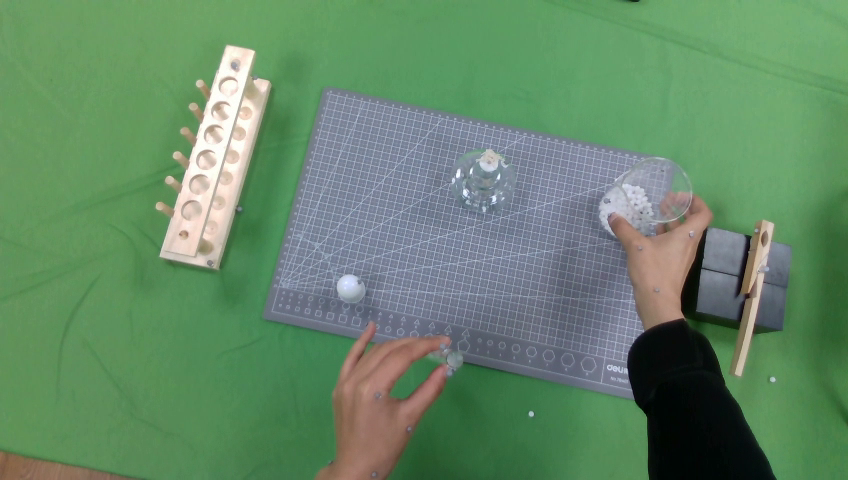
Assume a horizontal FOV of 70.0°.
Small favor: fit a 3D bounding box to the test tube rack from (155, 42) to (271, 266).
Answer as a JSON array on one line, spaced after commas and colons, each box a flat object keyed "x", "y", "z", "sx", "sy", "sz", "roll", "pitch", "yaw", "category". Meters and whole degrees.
[{"x": -0.249, "y": -0.100, "z": 0.696, "sx": 0.067, "sy": 0.085, "sz": 0.241, "roll": 13, "pitch": 78, "yaw": 1, "category": "test tube rack"}]

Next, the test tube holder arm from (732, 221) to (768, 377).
[{"x": 0.364, "y": 0.064, "z": 0.676, "sx": 0.013, "sy": 0.015, "sz": 0.178, "roll": 13, "pitch": 79, "yaw": 2, "category": "test tube holder arm"}]

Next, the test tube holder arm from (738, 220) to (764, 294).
[{"x": 0.369, "y": 0.020, "z": 0.685, "sx": 0.010, "sy": 0.015, "sz": 0.087, "roll": 15, "pitch": 79, "yaw": 3, "category": "test tube holder arm"}]

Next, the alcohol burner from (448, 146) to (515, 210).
[{"x": 0.067, "y": -0.075, "z": 0.688, "sx": 0.078, "sy": 0.119, "sz": 0.077, "roll": 0, "pitch": 78, "yaw": 0, "category": "alcohol burner"}]

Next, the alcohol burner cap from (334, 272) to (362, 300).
[{"x": -0.088, "y": 0.051, "z": 0.692, "sx": 0.034, "sy": 0.048, "sz": 0.033, "roll": 1, "pitch": 79, "yaw": -3, "category": "alcohol burner cap"}]

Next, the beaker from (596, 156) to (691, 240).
[{"x": 0.243, "y": -0.044, "z": 0.696, "sx": 0.084, "sy": 0.100, "sz": 0.073, "roll": 14, "pitch": 76, "yaw": 0, "category": "beaker"}]

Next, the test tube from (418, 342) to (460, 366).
[{"x": 0.011, "y": 0.105, "z": 0.564, "sx": 0.017, "sy": 0.150, "sz": 0.017, "roll": 1, "pitch": 82, "yaw": -9, "category": "test tube"}]
